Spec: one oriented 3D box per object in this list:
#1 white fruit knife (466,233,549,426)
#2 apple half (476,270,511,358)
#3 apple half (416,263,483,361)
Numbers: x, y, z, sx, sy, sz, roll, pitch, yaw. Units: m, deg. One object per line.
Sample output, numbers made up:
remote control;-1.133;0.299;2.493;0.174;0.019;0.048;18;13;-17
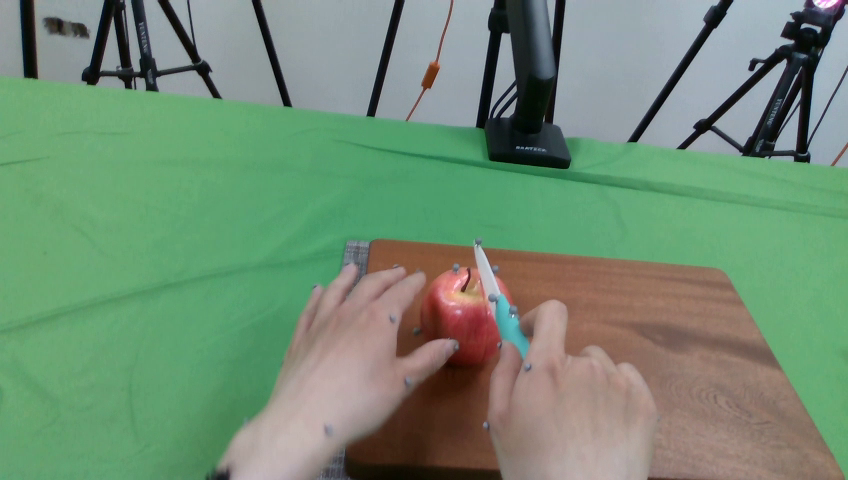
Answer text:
white fruit knife;0.055;0.051;0.458;0.016;0.027;0.205;5;31;-15
apple half;0.058;0.063;0.527;0.033;0.082;0.080;0;39;-5
apple half;0.020;0.063;0.522;0.053;0.075;0.080;-1;43;-4
